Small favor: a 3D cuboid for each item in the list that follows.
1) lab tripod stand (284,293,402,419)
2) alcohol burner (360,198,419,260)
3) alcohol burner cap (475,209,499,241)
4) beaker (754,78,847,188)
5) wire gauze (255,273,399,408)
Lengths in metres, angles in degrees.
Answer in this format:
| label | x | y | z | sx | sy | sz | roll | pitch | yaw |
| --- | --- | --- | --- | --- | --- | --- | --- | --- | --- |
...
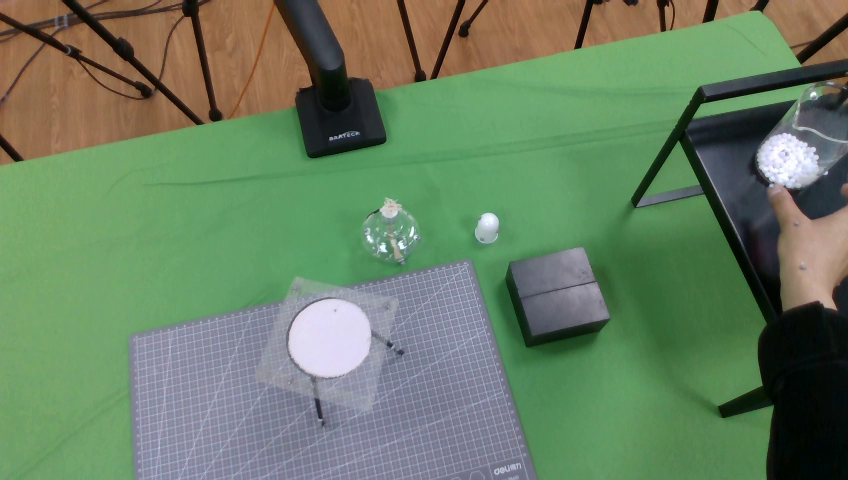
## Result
| label | x | y | z | sx | sy | sz | roll | pitch | yaw |
| --- | --- | --- | --- | --- | --- | --- | --- | --- | --- |
| lab tripod stand | -0.098 | 0.123 | 0.697 | 0.148 | 0.132 | 0.147 | 1 | 63 | -1 |
| alcohol burner | -0.044 | -0.022 | 0.779 | 0.078 | 0.120 | 0.077 | 1 | 64 | -1 |
| alcohol burner cap | 0.086 | -0.022 | 0.821 | 0.034 | 0.048 | 0.033 | 0 | 64 | 1 |
| beaker | 0.399 | -0.106 | 0.633 | 0.084 | 0.101 | 0.073 | -16 | 66 | -7 |
| wire gauze | -0.098 | 0.100 | 0.634 | 0.125 | 0.011 | 0.120 | 14 | 65 | 5 |
